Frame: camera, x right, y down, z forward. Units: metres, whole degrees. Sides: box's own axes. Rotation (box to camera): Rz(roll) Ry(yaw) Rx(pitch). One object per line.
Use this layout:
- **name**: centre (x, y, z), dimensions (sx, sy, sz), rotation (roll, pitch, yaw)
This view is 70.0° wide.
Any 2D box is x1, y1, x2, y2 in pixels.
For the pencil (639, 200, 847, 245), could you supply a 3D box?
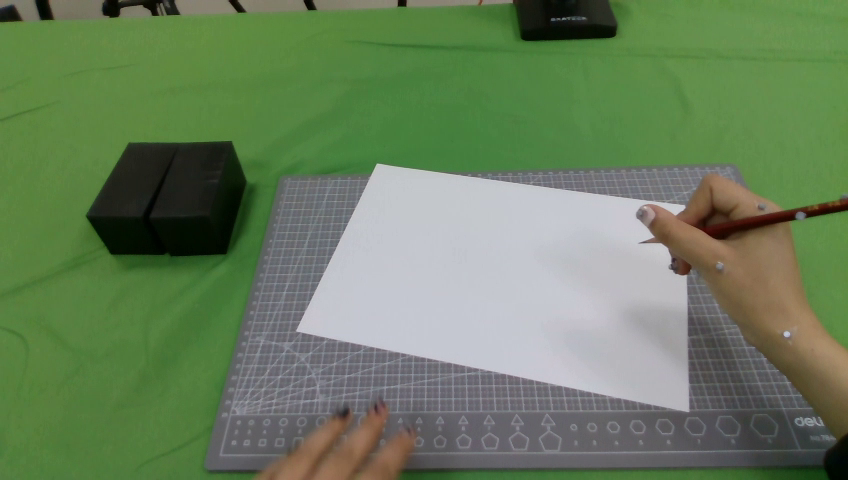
- **pencil**: centre (0.220, -0.013, 0.373), dimensions (0.193, 0.012, 0.012), rotation (-15, 30, 49)
